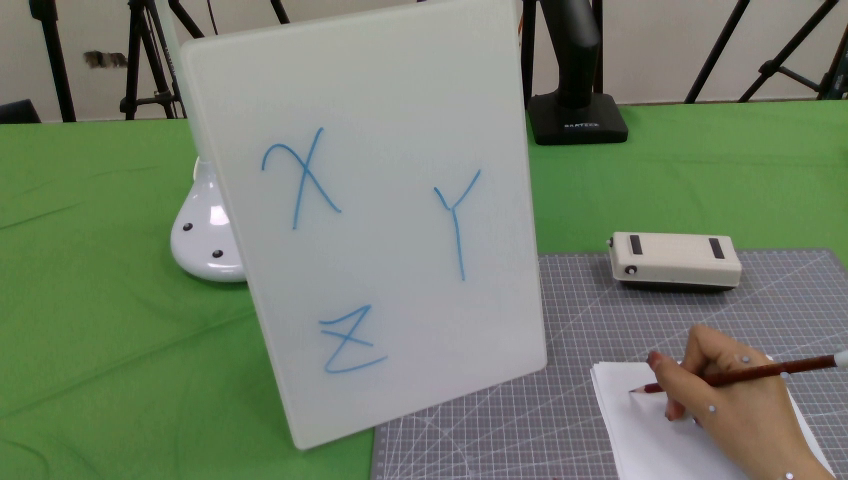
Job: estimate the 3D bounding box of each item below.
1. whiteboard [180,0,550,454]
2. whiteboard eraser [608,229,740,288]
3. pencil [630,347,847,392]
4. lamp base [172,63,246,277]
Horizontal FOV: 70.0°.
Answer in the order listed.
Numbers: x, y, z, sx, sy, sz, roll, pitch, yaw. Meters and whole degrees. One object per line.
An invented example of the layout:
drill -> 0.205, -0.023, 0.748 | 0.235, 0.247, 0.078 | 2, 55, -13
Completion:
whiteboard -> -0.037, -0.024, 0.493 | 0.217, 0.307, 0.142 | -15, 22, -13
whiteboard eraser -> 0.238, 0.019, 0.583 | 0.112, 0.042, 0.055 | 3, 42, 7
pencil -> 0.215, 0.092, 0.415 | 0.012, 0.194, 0.012 | 11, 66, -26
lamp base -> -0.205, -0.079, 0.620 | 0.177, 0.182, 0.160 | 28, 49, 34
